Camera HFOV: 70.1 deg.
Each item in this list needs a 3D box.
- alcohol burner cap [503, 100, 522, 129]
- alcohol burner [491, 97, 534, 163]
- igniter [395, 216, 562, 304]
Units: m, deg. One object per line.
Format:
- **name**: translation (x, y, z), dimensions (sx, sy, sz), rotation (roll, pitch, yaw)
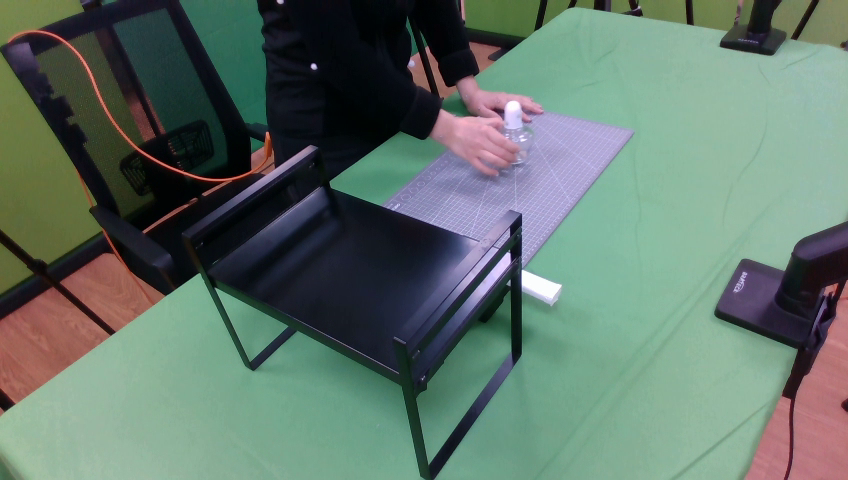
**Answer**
- **alcohol burner cap**: translation (0.155, -0.222, 1.062), dimensions (0.034, 0.048, 0.033), rotation (-4, 39, 4)
- **alcohol burner**: translation (0.159, -0.199, 1.083), dimensions (0.078, 0.119, 0.077), rotation (-3, 39, 3)
- **igniter**: translation (0.066, 0.023, 0.864), dimensions (0.274, 0.025, 0.057), rotation (24, 48, 28)
